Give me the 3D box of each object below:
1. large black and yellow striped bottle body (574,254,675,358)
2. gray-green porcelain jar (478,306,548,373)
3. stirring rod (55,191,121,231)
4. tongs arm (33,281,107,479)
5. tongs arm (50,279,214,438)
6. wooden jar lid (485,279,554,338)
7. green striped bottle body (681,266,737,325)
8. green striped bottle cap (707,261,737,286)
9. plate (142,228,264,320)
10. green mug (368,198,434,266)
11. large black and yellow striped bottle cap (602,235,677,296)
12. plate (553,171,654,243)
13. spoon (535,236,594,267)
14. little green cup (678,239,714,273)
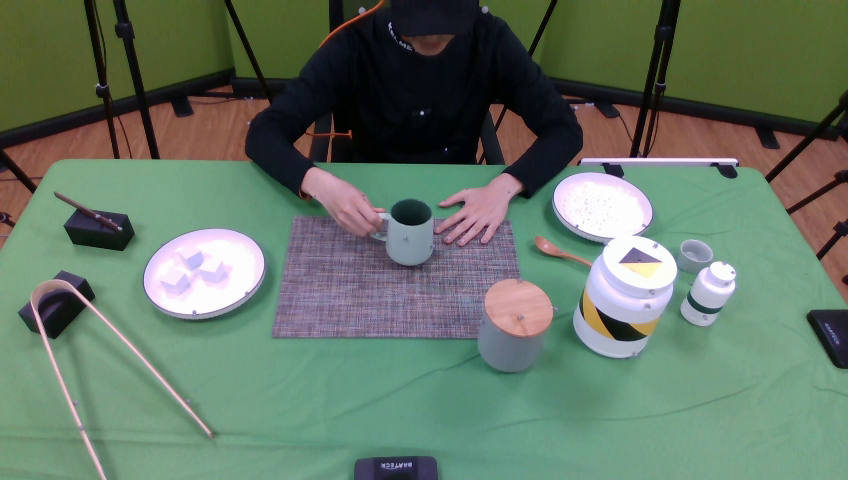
[{"bbox_3d":[0.335,0.096,1.014,0.131,0.185,0.130,2,46,-2],"label":"large black and yellow striped bottle body"},{"bbox_3d":[0.144,0.148,0.989,0.106,0.127,0.105,2,50,-2],"label":"gray-green porcelain jar"},{"bbox_3d":[-0.632,-0.055,1.138,0.175,0.014,0.006,24,50,19],"label":"stirring rod"},{"bbox_3d":[-0.517,0.214,0.910,0.051,0.026,0.383,-29,63,-27],"label":"tongs arm"},{"bbox_3d":[-0.459,0.178,0.949,0.386,0.028,0.028,37,60,17],"label":"tongs arm"},{"bbox_3d":[0.147,0.108,0.940,0.108,0.021,0.107,4,47,-4],"label":"wooden jar lid"},{"bbox_3d":[0.507,0.093,1.074,0.063,0.120,0.063,2,46,-2],"label":"green striped bottle body"},{"bbox_3d":[0.510,0.057,1.036,0.044,0.020,0.044,1,45,-1],"label":"green striped bottle cap"},{"bbox_3d":[-0.394,0.064,1.095,0.208,0.039,0.206,2,46,-2],"label":"plate"},{"bbox_3d":[-0.043,-0.016,1.133,0.125,0.105,0.092,8,44,4],"label":"green mug"},{"bbox_3d":[0.340,0.037,0.955,0.115,0.019,0.114,2,47,-1],"label":"large black and yellow striped bottle cap"},{"bbox_3d":[0.373,-0.066,1.275,0.209,0.038,0.208,2,46,-2],"label":"plate"},{"bbox_3d":[0.303,0.040,1.178,0.193,0.022,0.041,25,31,19],"label":"spoon"},{"bbox_3d":[0.531,0.033,1.189,0.061,0.039,0.061,2,46,-2],"label":"little green cup"}]
